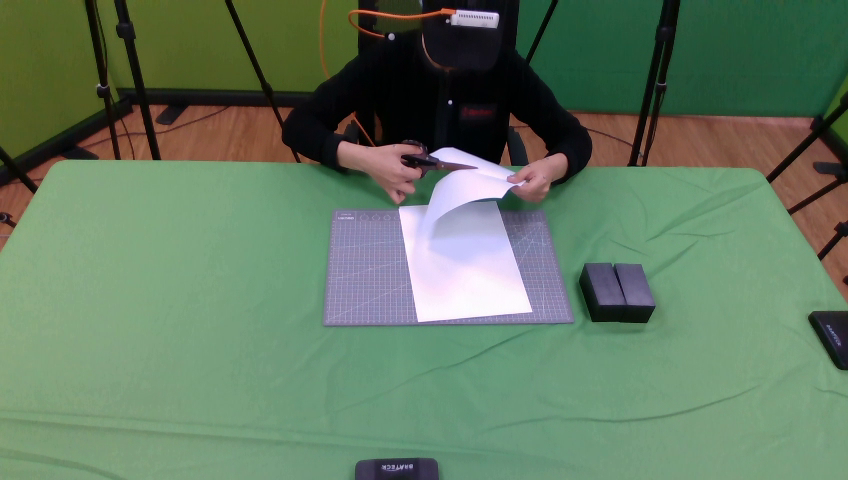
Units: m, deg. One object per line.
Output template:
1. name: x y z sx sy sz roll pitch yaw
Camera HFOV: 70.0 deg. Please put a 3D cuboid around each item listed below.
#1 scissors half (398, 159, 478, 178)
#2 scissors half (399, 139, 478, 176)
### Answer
1. scissors half: 0.027 -0.147 1.245 0.175 0.040 0.013 3 27 23
2. scissors half: 0.029 -0.166 1.234 0.175 0.040 0.013 25 38 9
